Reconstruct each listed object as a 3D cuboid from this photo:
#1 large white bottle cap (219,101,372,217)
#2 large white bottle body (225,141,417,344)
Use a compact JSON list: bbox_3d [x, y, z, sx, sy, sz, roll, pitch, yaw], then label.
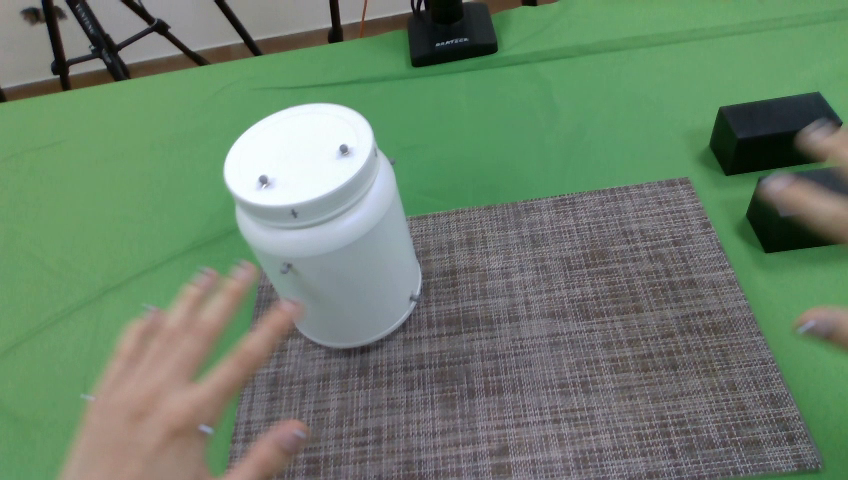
[{"bbox_3d":[-0.097,-0.063,0.456,0.115,0.018,0.113,-5,49,7],"label":"large white bottle cap"},{"bbox_3d":[-0.083,-0.010,0.520,0.130,0.186,0.129,-6,49,7],"label":"large white bottle body"}]
